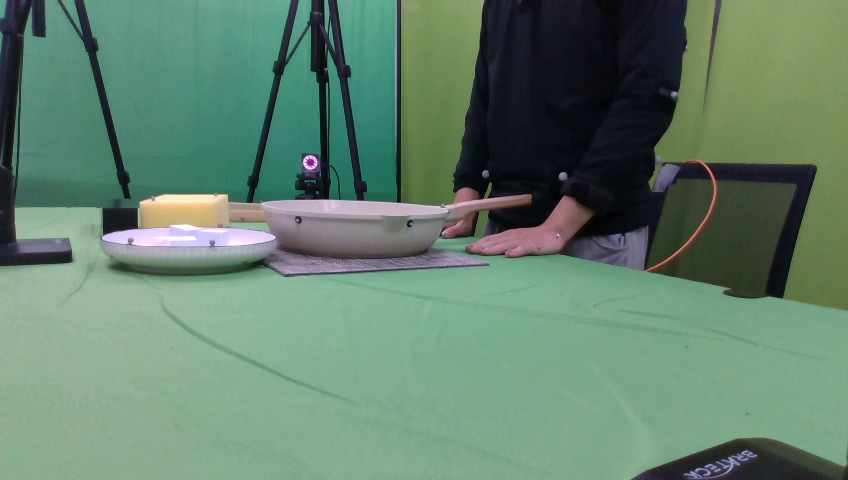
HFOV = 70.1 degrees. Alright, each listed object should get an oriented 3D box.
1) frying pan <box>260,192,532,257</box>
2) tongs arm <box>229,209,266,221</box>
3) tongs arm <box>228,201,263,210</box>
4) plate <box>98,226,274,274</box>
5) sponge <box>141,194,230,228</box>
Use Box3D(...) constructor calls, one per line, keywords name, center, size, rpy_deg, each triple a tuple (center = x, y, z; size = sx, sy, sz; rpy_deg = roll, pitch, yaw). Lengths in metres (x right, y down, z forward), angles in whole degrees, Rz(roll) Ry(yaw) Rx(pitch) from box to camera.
Box3D(name="frying pan", center=(-0.017, -0.043, 1.006), size=(0.490, 0.102, 0.305), rpy_deg=(-11, 13, -26))
Box3D(name="tongs arm", center=(-0.280, -0.056, 1.355), size=(0.389, 0.028, 0.028), rpy_deg=(-1, 5, -28))
Box3D(name="tongs arm", center=(-0.306, -0.070, 1.430), size=(0.386, 0.026, 0.050), rpy_deg=(2, 8, -15))
Box3D(name="plate", center=(-0.301, 0.012, 0.778), size=(0.208, 0.039, 0.207), rpy_deg=(2, 7, 0))
Box3D(name="sponge", center=(-0.425, -0.047, 1.097), size=(0.118, 0.061, 0.206), rpy_deg=(-2, 8, -12))
